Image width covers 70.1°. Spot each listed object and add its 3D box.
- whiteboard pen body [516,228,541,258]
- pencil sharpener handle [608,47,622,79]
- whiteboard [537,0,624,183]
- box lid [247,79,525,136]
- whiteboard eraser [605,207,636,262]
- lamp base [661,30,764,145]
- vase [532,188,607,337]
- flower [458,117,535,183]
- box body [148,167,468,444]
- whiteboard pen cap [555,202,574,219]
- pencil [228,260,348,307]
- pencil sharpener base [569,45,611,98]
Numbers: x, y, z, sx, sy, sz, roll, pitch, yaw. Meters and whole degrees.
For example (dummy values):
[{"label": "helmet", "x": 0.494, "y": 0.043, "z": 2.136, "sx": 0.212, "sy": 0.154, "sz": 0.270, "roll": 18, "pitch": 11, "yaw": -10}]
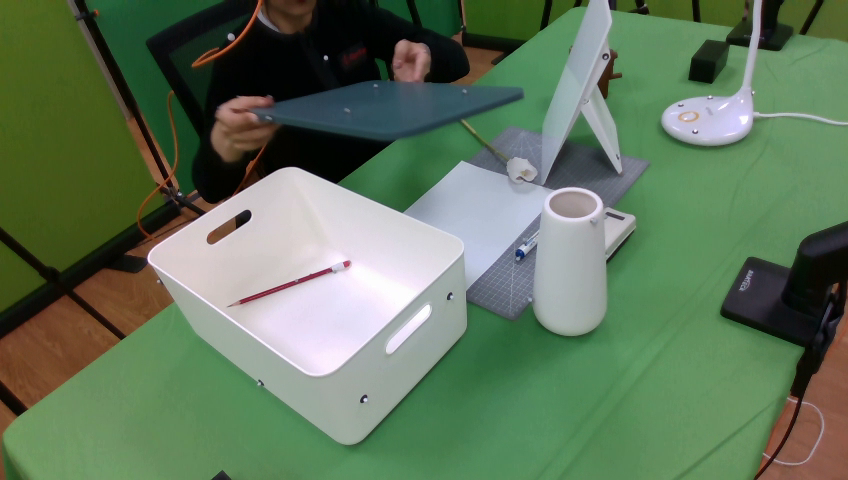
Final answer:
[{"label": "whiteboard pen body", "x": 0.191, "y": -0.015, "z": 0.964, "sx": 0.017, "sy": 0.017, "sz": 0.141, "roll": 26, "pitch": 51, "yaw": 34}, {"label": "pencil sharpener handle", "x": 0.395, "y": -0.369, "z": 1.254, "sx": 0.031, "sy": 0.068, "sz": 0.036, "roll": -10, "pitch": 32, "yaw": -1}, {"label": "whiteboard", "x": 0.316, "y": -0.256, "z": 1.047, "sx": 0.144, "sy": 0.306, "sz": 0.216, "roll": 15, "pitch": 42, "yaw": -1}, {"label": "box lid", "x": -0.068, "y": -0.202, "z": 0.891, "sx": 0.265, "sy": 0.015, "sz": 0.368, "roll": -25, "pitch": 29, "yaw": -38}, {"label": "whiteboard eraser", "x": 0.273, "y": -0.003, "z": 0.919, "sx": 0.055, "sy": 0.042, "sz": 0.113, "roll": 27, "pitch": 51, "yaw": 33}, {"label": "lamp base", "x": 0.535, "y": -0.287, "z": 1.096, "sx": 0.179, "sy": 0.181, "sz": 0.159, "roll": -10, "pitch": 40, "yaw": -4}, {"label": "vase", "x": 0.186, "y": 0.033, "z": 0.771, "sx": 0.098, "sy": 0.201, "sz": 0.097, "roll": -6, "pitch": 41, "yaw": 6}, {"label": "flower", "x": 0.117, "y": -0.201, "z": 1.201, "sx": 0.044, "sy": 0.038, "sz": 0.358, "roll": -25, "pitch": 37, "yaw": -8}, {"label": "box body", "x": -0.147, "y": 0.072, "z": 0.816, "sx": 0.361, "sy": 0.161, "sz": 0.255, "roll": 24, "pitch": 50, "yaw": 33}, {"label": "whiteboard pen cap", "x": 0.230, "y": -0.048, "z": 0.994, "sx": 0.018, "sy": 0.018, "sz": 0.033, "roll": 26, "pitch": 53, "yaw": 34}, {"label": "pencil", "x": -0.210, "y": 0.068, "z": 0.942, "sx": 0.194, "sy": 0.012, "sz": 0.012, "roll": -20, "pitch": 42, "yaw": -12}, {"label": "pencil sharpener base", "x": 0.346, "y": -0.352, "z": 1.262, "sx": 0.077, "sy": 0.107, "sz": 0.061, "roll": -10, "pitch": 40, "yaw": -1}]
